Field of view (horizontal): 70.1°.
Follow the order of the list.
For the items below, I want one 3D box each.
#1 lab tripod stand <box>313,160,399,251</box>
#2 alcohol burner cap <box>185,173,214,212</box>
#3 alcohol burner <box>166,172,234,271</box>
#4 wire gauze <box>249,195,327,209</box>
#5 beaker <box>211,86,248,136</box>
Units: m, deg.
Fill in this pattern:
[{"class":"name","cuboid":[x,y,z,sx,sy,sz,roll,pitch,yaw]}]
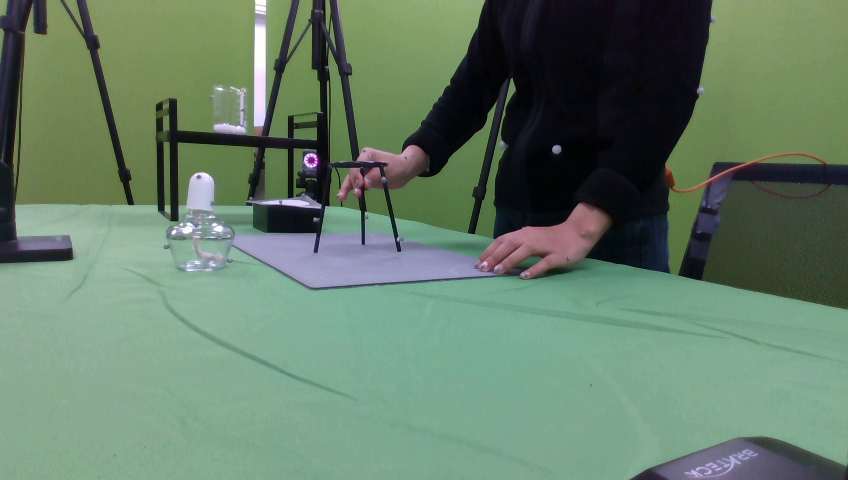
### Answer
[{"class":"lab tripod stand","cuboid":[-0.101,-0.053,0.907,0.148,0.131,0.148,-2,5,0]},{"class":"alcohol burner cap","cuboid":[-0.269,-0.057,0.730,0.034,0.048,0.034,5,2,0]},{"class":"alcohol burner","cuboid":[-0.272,-0.023,0.735,0.078,0.119,0.078,2,5,0]},{"class":"wire gauze","cuboid":[-0.260,-0.071,1.138,0.126,0.011,0.121,-3,12,-28]},{"class":"beaker","cuboid":[-0.414,-0.274,1.297,0.074,0.100,0.083,-5,11,-44]}]
